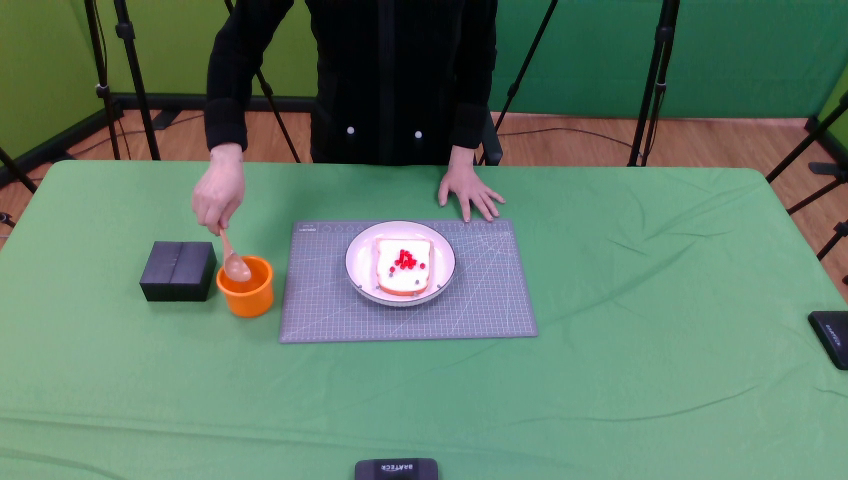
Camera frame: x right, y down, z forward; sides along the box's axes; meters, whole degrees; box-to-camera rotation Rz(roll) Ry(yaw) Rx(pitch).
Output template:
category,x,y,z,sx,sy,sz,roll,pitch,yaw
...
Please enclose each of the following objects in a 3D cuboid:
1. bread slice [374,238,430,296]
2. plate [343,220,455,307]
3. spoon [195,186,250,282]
category,x,y,z,sx,sy,sz,roll,pitch,yaw
bread slice,-0.039,0.048,1.135,0.107,0.018,0.133,-1,47,-4
plate,-0.047,0.046,1.135,0.209,0.038,0.208,2,46,-2
spoon,-0.345,-0.012,1.027,0.042,0.021,0.193,-15,74,-45
